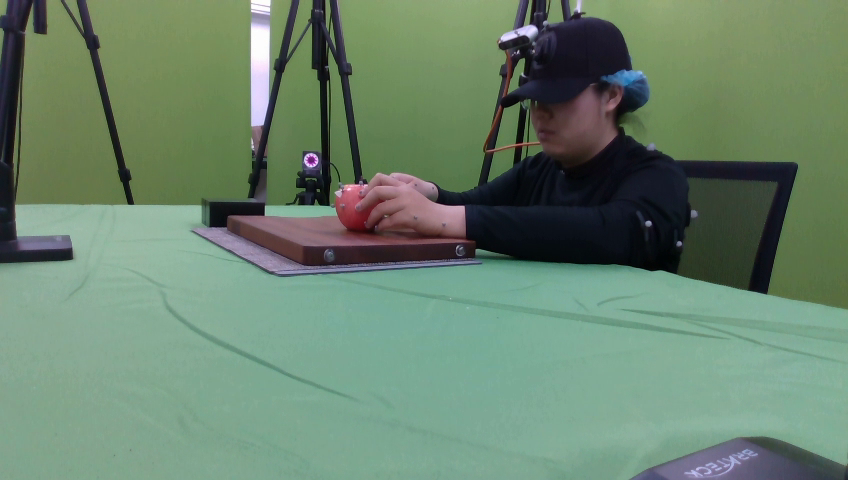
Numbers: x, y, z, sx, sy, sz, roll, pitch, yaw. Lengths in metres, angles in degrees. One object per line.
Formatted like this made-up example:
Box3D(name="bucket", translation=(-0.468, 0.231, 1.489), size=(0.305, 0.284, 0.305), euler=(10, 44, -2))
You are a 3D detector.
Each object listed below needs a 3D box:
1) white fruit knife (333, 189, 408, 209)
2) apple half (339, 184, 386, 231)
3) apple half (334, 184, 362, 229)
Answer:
Box3D(name="white fruit knife", translation=(-0.084, -0.071, 1.005), size=(0.016, 0.027, 0.208), euler=(10, 4, 30))
Box3D(name="apple half", translation=(-0.089, -0.050, 0.953), size=(0.053, 0.074, 0.081), euler=(12, 6, 29))
Box3D(name="apple half", translation=(-0.124, -0.055, 0.972), size=(0.032, 0.081, 0.081), euler=(9, 9, 29))
